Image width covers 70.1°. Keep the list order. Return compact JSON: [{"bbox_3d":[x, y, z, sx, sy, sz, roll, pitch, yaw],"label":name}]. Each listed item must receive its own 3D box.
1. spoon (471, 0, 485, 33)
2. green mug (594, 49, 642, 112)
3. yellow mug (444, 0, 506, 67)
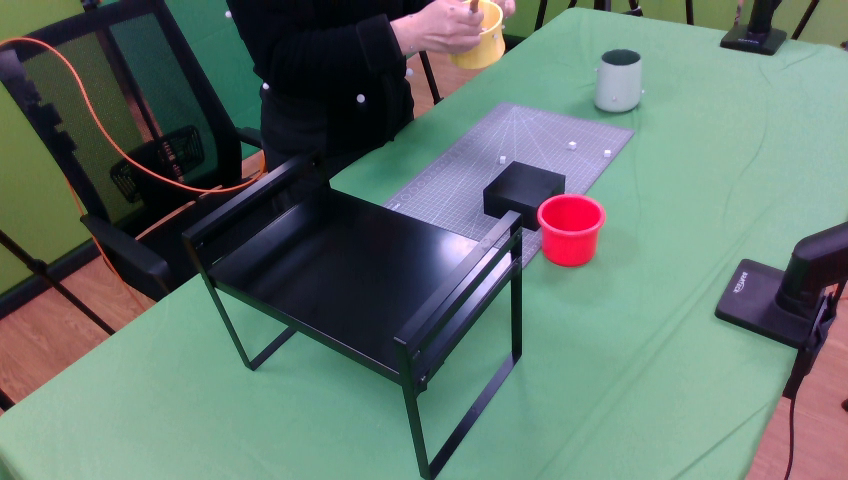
[{"bbox_3d":[0.081,-0.343,0.956,0.041,0.021,0.194,-17,-2,6],"label":"spoon"},{"bbox_3d":[0.397,-0.333,1.240,0.092,0.105,0.125,-3,41,7],"label":"green mug"},{"bbox_3d":[0.093,-0.361,1.028,0.099,0.064,0.131,17,58,21],"label":"yellow mug"}]
